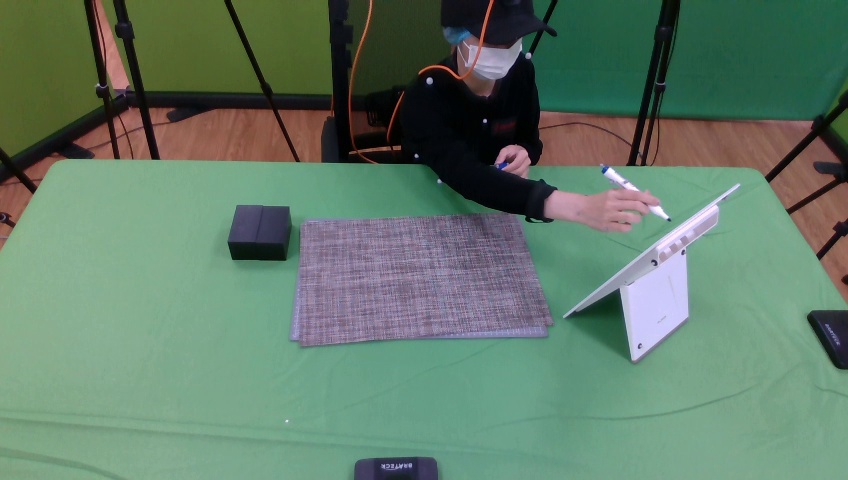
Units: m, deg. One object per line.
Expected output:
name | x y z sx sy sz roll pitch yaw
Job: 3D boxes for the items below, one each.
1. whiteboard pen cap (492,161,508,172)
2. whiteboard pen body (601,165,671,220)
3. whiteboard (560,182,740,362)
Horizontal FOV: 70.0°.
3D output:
whiteboard pen cap | 0.162 -0.158 1.302 0.033 0.018 0.018 -18 50 -16
whiteboard pen body | 0.351 -0.077 1.000 0.141 0.017 0.017 38 52 1
whiteboard | 0.406 0.075 1.001 0.217 0.306 0.143 -28 73 -28
